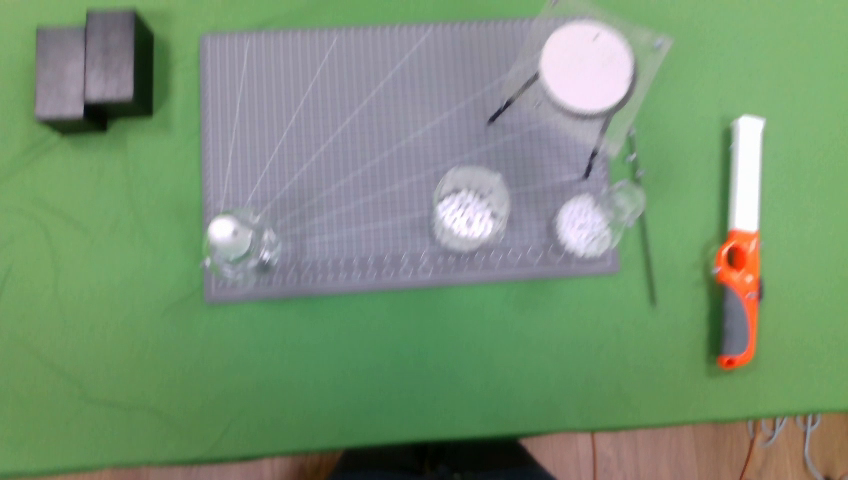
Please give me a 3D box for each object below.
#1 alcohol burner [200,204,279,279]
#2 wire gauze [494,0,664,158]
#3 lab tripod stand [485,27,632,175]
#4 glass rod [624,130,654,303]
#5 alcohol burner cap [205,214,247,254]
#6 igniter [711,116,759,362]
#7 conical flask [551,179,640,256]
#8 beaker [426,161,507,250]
[{"bbox_3d":[-0.187,-0.001,0.599,0.078,0.119,0.077,0,82,-1],"label":"alcohol burner"},{"bbox_3d":[0.143,-0.157,0.560,0.125,0.011,0.121,28,83,2],"label":"wire gauze"},{"bbox_3d":[0.144,-0.145,0.625,0.148,0.132,0.148,0,83,-1],"label":"lab tripod stand"},{"bbox_3d":[0.240,-0.028,0.679,0.008,0.008,0.199,-5,82,-4],"label":"glass rod"},{"bbox_3d":[-0.186,-0.008,0.563,0.034,0.048,0.033,1,75,-4],"label":"alcohol burner cap"},{"bbox_3d":[0.346,-0.003,0.670,0.057,0.025,0.275,9,81,-11],"label":"igniter"},{"bbox_3d":[0.179,-0.028,0.615,0.075,0.122,0.075,0,81,-2],"label":"conical flask"},{"bbox_3d":[0.042,-0.028,0.621,0.074,0.100,0.084,-39,85,-7],"label":"beaker"}]
